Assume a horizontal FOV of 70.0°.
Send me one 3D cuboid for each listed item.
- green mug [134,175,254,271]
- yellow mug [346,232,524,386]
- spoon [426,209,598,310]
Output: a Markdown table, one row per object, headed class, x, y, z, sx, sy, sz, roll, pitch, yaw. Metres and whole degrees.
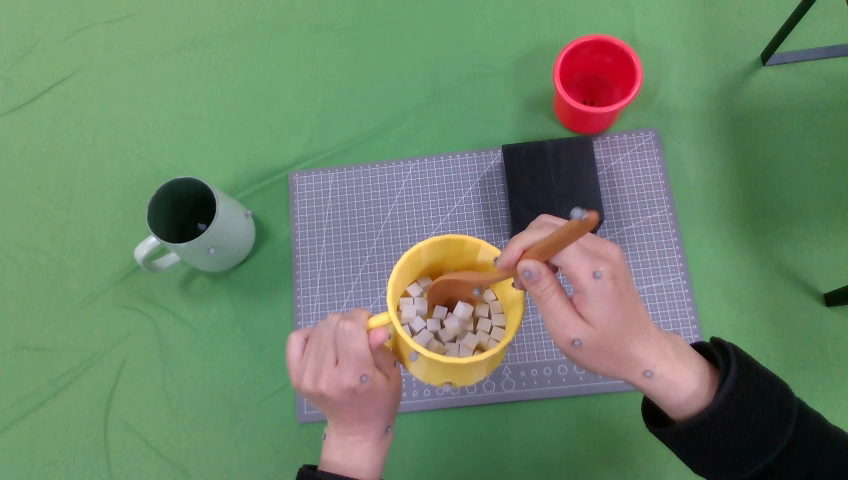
| class | x | y | z | sx | sy | sz | roll | pitch | yaw |
| --- | --- | --- | --- | --- | --- | --- | --- | --- | --- |
| green mug | -0.263 | -0.008 | 0.683 | 0.125 | 0.105 | 0.092 | -37 | 76 | -6 |
| yellow mug | 0.005 | 0.057 | 0.452 | 0.131 | 0.064 | 0.099 | -17 | 64 | -11 |
| spoon | 0.052 | 0.019 | 0.402 | 0.042 | 0.193 | 0.021 | 22 | 66 | -17 |
